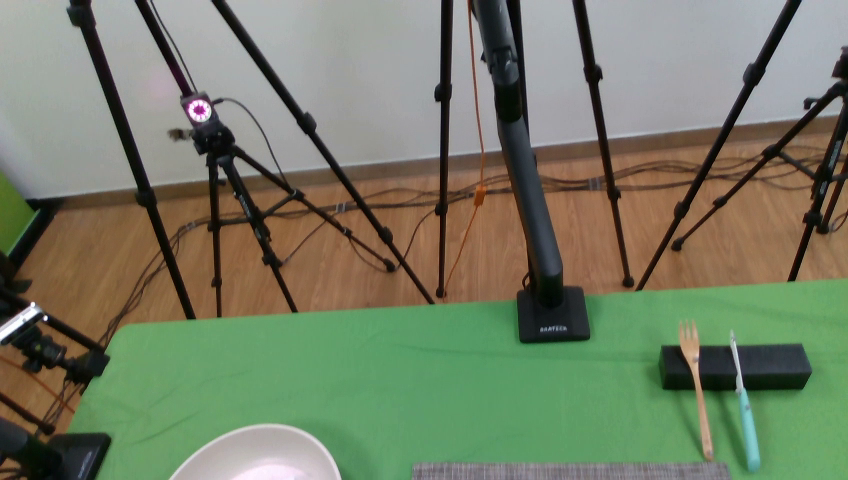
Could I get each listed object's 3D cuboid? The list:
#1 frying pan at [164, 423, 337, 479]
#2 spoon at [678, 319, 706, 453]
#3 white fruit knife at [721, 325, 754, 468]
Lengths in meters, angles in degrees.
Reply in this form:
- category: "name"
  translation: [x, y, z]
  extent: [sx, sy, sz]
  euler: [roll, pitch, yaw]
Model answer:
- category: "frying pan"
  translation: [-0.265, 0.472, 0.784]
  extent: [0.306, 0.104, 0.483]
  euler: [-4, 37, 10]
- category: "spoon"
  translation: [0.397, 0.212, 0.893]
  extent: [0.041, 0.022, 0.192]
  euler: [-9, 63, 36]
- category: "white fruit knife"
  translation: [0.451, 0.221, 0.879]
  extent: [0.016, 0.028, 0.205]
  euler: [0, 61, 7]
